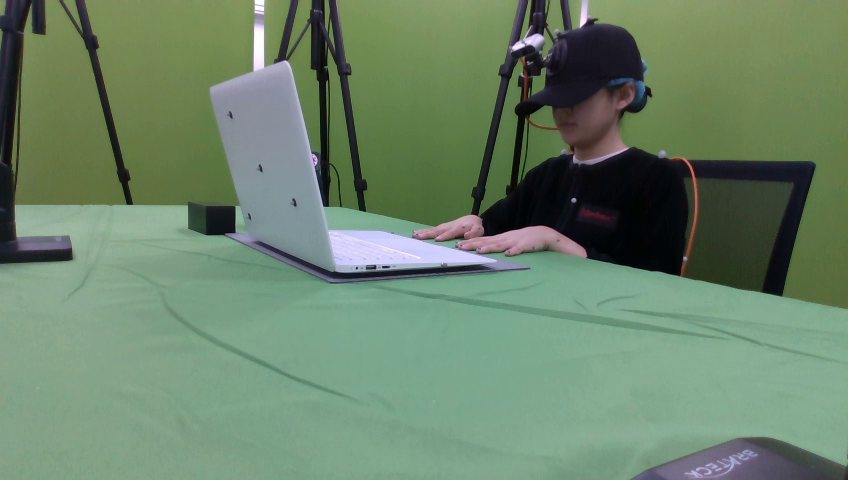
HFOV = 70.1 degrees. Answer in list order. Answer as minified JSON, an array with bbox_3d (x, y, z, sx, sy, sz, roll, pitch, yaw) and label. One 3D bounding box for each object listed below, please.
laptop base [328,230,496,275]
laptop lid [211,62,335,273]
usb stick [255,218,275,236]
[{"bbox_3d":[-0.091,0.016,0.884,0.237,0.023,0.352,3,6,-32],"label":"laptop base"},{"bbox_3d":[-0.211,-0.095,0.791,0.013,0.241,0.355,-18,18,-29],"label":"laptop lid"},{"bbox_3d":[-0.262,-0.021,1.003,0.021,0.027,0.059,-1,11,-33],"label":"usb stick"}]
